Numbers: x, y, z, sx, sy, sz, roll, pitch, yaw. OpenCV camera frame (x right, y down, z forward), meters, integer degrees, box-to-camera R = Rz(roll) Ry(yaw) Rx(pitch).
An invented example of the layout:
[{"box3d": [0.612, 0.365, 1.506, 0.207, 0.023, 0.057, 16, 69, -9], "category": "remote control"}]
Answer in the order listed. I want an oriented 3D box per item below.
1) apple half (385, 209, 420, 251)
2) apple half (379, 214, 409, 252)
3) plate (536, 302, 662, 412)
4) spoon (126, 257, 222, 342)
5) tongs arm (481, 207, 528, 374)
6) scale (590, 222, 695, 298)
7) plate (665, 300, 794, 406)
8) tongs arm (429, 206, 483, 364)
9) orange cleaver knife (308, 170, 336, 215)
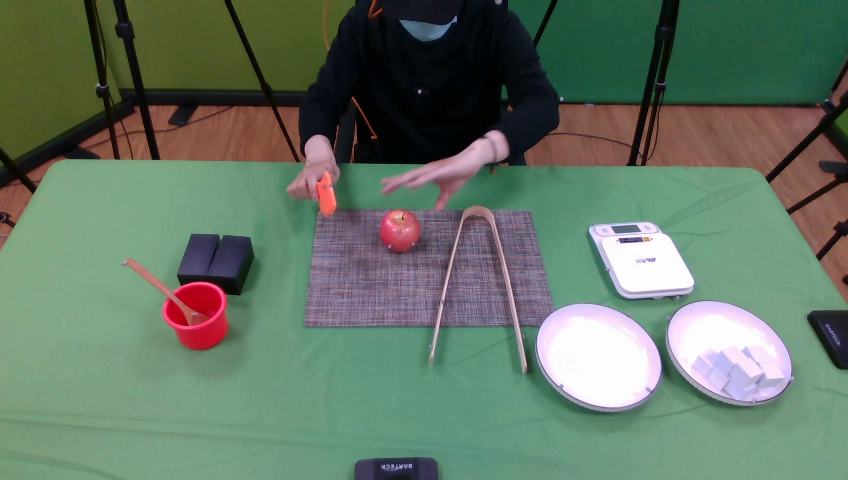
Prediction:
[{"box3d": [-0.038, -0.023, 1.175, 0.053, 0.075, 0.080, -29, 51, -32], "category": "apple half"}, {"box3d": [-0.066, -0.006, 1.155, 0.033, 0.081, 0.081, -30, 55, -33], "category": "apple half"}, {"box3d": [0.288, 0.196, 1.016, 0.209, 0.038, 0.208, 2, 46, -2], "category": "plate"}, {"box3d": [-0.408, 0.096, 0.990, 0.194, 0.021, 0.041, 50, 53, -18], "category": "spoon"}, {"box3d": [0.149, 0.077, 1.124, 0.028, 0.028, 0.385, -4, 46, -2], "category": "tongs arm"}, {"box3d": [0.424, 0.031, 1.189, 0.149, 0.032, 0.199, -3, 46, -7], "category": "scale"}, {"box3d": [0.513, 0.194, 1.034, 0.208, 0.039, 0.206, 2, 46, -2], "category": "plate"}, {"box3d": [0.064, 0.069, 1.124, 0.051, 0.026, 0.382, 8, 45, 5], "category": "tongs arm"}, {"box3d": [-0.188, -0.084, 1.115, 0.012, 0.077, 0.211, -12, 6, -19], "category": "orange cleaver knife"}]
